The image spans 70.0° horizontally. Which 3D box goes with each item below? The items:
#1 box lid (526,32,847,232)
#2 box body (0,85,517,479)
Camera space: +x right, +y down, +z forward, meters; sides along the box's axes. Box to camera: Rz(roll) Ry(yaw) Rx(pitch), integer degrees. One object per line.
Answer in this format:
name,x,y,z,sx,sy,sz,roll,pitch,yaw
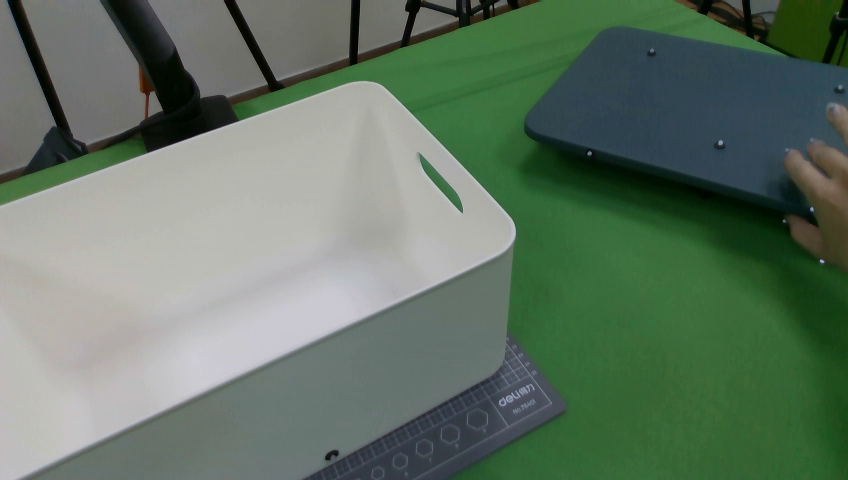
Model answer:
box lid,0.322,-0.136,0.655,0.369,0.015,0.262,22,51,26
box body,-0.138,0.052,0.476,0.364,0.162,0.251,-24,46,-16
